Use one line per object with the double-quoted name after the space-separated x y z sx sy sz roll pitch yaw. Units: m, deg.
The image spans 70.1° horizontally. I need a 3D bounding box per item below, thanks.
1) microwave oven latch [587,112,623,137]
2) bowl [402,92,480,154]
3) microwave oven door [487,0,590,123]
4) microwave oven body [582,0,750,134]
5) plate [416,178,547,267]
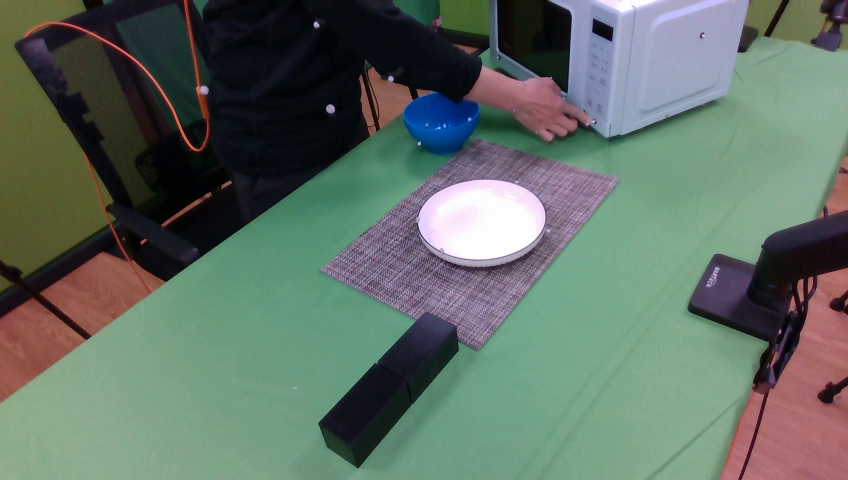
0.340 -0.223 1.142 0.030 0.029 0.078 -18 41 -10 "microwave oven latch"
0.037 -0.220 1.180 0.151 0.077 0.150 -4 40 4 "bowl"
0.232 -0.419 1.231 0.039 0.245 0.352 -22 43 -16 "microwave oven door"
0.382 -0.445 1.246 0.327 0.261 0.437 -22 42 -16 "microwave oven body"
0.091 -0.026 0.970 0.207 0.039 0.206 -4 41 4 "plate"
